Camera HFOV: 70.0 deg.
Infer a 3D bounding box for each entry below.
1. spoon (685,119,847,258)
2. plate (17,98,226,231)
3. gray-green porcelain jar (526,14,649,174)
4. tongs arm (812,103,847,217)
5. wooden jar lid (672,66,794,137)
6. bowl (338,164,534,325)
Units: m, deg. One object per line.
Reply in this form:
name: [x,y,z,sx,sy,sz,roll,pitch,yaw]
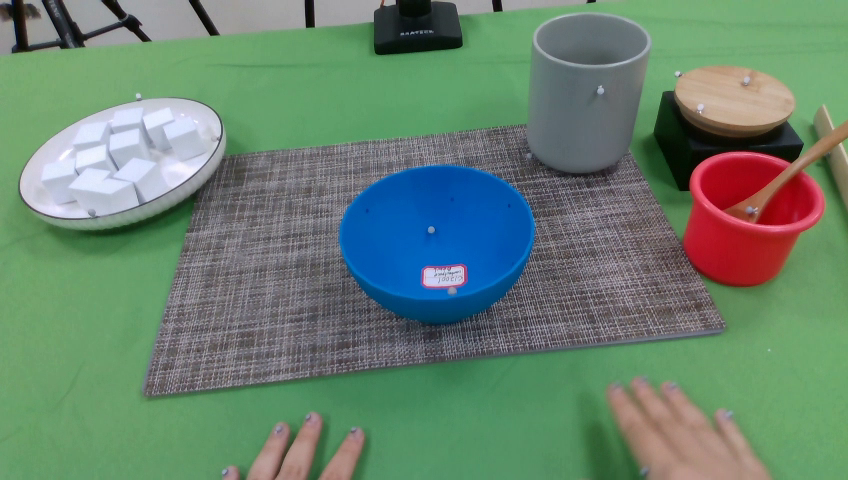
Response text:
spoon: [0.295,-0.051,0.487,0.022,0.194,0.041,28,27,-33]
plate: [-0.310,-0.079,0.640,0.209,0.038,0.207,-3,45,3]
gray-green porcelain jar: [0.154,-0.137,0.592,0.106,0.128,0.105,-3,45,3]
tongs arm: [0.387,0.000,0.510,0.028,0.028,0.384,6,46,8]
wooden jar lid: [0.296,-0.133,0.586,0.108,0.021,0.107,-3,45,3]
bowl: [0.011,0.015,0.486,0.151,0.077,0.150,-2,45,3]
